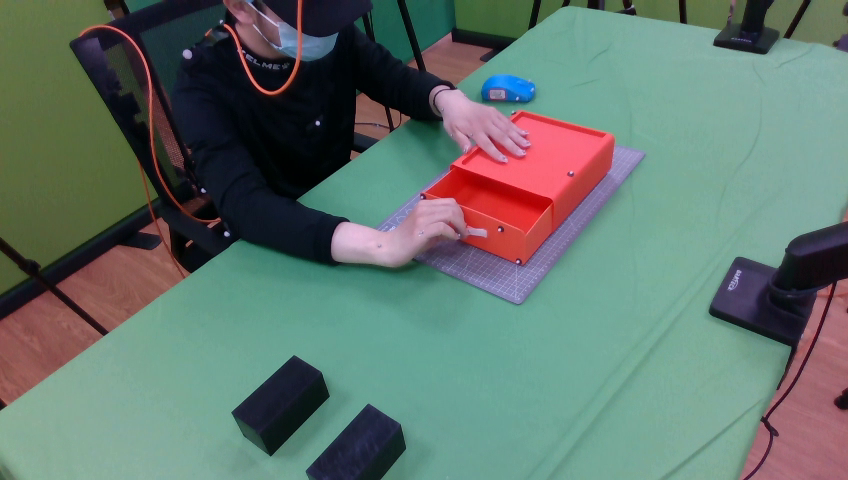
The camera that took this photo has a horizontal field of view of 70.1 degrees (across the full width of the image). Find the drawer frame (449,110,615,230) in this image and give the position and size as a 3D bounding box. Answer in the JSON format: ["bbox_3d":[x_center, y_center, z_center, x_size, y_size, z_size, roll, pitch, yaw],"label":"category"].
[{"bbox_3d":[0.185,-0.125,1.037,0.200,0.083,0.214,23,48,31],"label":"drawer frame"}]

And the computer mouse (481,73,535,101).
[{"bbox_3d":[0.183,-0.335,1.320,0.117,0.041,0.063,11,42,14],"label":"computer mouse"}]

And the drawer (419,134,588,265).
[{"bbox_3d":[0.133,-0.076,0.984,0.193,0.073,0.212,23,50,31],"label":"drawer"}]
